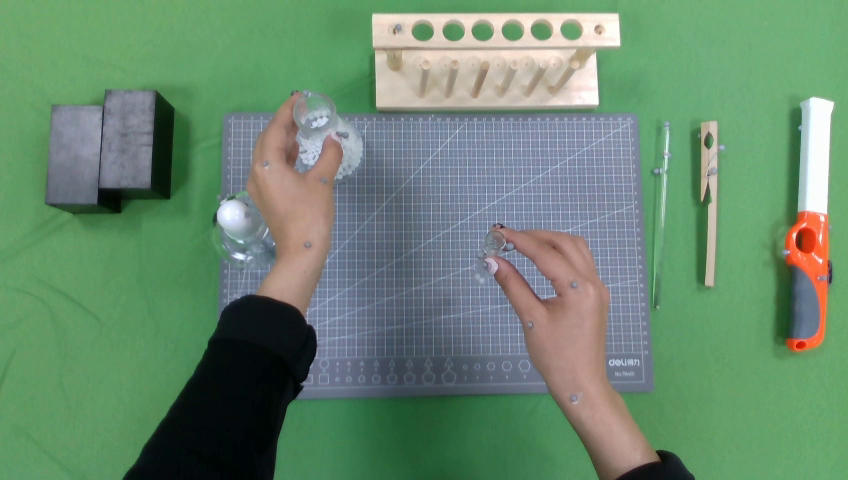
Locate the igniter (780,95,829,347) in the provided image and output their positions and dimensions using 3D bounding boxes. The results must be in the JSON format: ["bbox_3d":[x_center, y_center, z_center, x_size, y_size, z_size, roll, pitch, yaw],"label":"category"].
[{"bbox_3d":[0.414,-0.022,0.656,0.057,0.025,0.275,9,83,-12],"label":"igniter"}]

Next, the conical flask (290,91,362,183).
[{"bbox_3d":[-0.102,-0.105,0.591,0.075,0.122,0.075,0,82,-3],"label":"conical flask"}]

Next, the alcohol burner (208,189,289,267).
[{"bbox_3d":[-0.172,-0.015,0.580,0.078,0.119,0.077,0,81,0],"label":"alcohol burner"}]

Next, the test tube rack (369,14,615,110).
[{"bbox_3d":[0.066,-0.183,0.631,0.242,0.085,0.066,-1,83,-3],"label":"test tube rack"}]

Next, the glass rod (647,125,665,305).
[{"bbox_3d":[0.252,-0.029,0.658,0.008,0.008,0.199,6,84,-2],"label":"glass rod"}]

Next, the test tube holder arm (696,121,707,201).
[{"bbox_3d":[0.305,-0.087,0.665,0.010,0.015,0.087,-3,82,34],"label":"test tube holder arm"}]

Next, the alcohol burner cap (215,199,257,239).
[{"bbox_3d":[-0.171,-0.021,0.544,0.034,0.048,0.033,1,78,-6],"label":"alcohol burner cap"}]

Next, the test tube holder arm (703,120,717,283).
[{"bbox_3d":[0.309,-0.043,0.657,0.013,0.015,0.178,-5,81,34],"label":"test tube holder arm"}]

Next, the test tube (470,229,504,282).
[{"bbox_3d":[0.052,0.016,0.525,0.017,0.151,0.017,0,76,0],"label":"test tube"}]
